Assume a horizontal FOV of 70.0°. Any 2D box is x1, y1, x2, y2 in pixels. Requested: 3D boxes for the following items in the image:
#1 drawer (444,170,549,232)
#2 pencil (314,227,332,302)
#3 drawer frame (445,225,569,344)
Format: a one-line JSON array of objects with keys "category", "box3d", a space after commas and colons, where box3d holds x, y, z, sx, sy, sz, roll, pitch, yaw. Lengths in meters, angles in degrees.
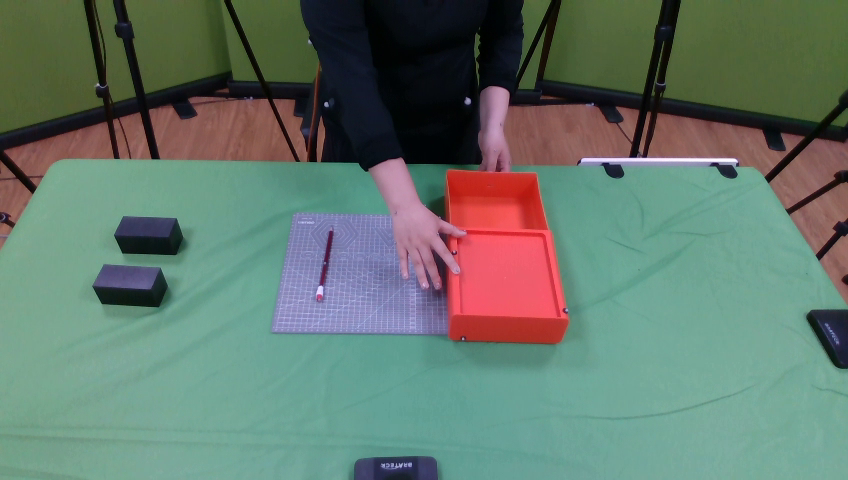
[{"category": "drawer", "box3d": [0.142, -0.049, 1.217, 0.194, 0.073, 0.210, 2, 44, -3]}, {"category": "pencil", "box3d": [-0.189, 0.041, 1.148, 0.012, 0.012, 0.193, 3, 44, -1]}, {"category": "drawer frame", "box3d": [0.141, 0.076, 1.089, 0.202, 0.083, 0.212, 2, 46, -3]}]
